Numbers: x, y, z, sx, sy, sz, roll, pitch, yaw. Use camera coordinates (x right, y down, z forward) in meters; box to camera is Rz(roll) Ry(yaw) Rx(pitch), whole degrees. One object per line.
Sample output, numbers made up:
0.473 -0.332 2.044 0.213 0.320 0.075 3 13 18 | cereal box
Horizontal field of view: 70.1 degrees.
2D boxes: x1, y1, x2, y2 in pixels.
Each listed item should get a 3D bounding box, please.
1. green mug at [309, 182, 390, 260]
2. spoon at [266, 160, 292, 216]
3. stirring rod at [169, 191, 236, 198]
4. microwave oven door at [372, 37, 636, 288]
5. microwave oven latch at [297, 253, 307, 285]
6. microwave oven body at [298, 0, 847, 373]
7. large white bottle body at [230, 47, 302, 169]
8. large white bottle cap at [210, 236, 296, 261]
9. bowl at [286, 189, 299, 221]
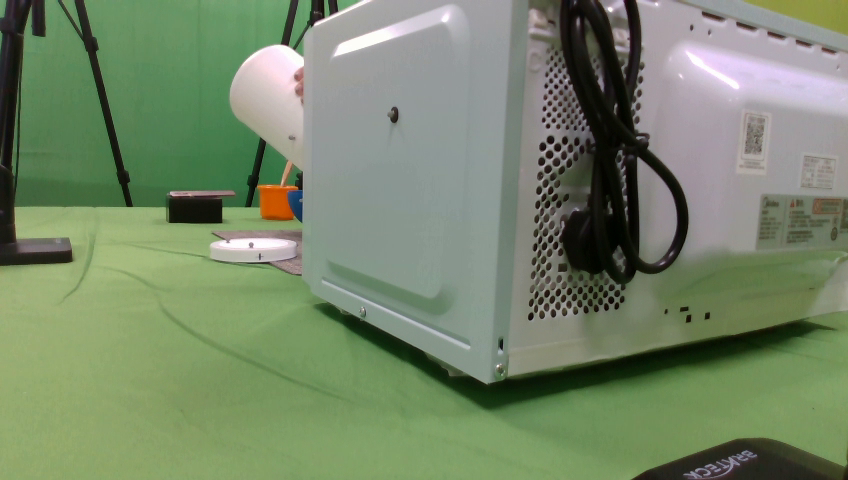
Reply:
-0.102 -0.029 0.864 0.126 0.105 0.092 -4 9 -39 | green mug
-0.333 -0.127 1.424 0.041 0.193 0.022 -1 -37 8 | spoon
-0.465 -0.098 1.283 0.014 0.006 0.177 42 21 17 | stirring rod
0.110 -0.080 0.687 0.358 0.243 0.039 -2 9 -33 | microwave oven door
-0.082 0.027 0.583 0.079 0.029 0.030 -1 8 -33 | microwave oven latch
0.151 -0.055 0.543 0.444 0.260 0.324 -1 8 -33 | microwave oven body
-0.170 -0.177 0.870 0.184 0.130 0.131 38 19 15 | large white bottle body
-0.236 0.011 0.839 0.115 0.018 0.115 -1 10 0 | large white bottle cap
-0.179 -0.051 1.115 0.151 0.077 0.151 3 8 0 | bowl
